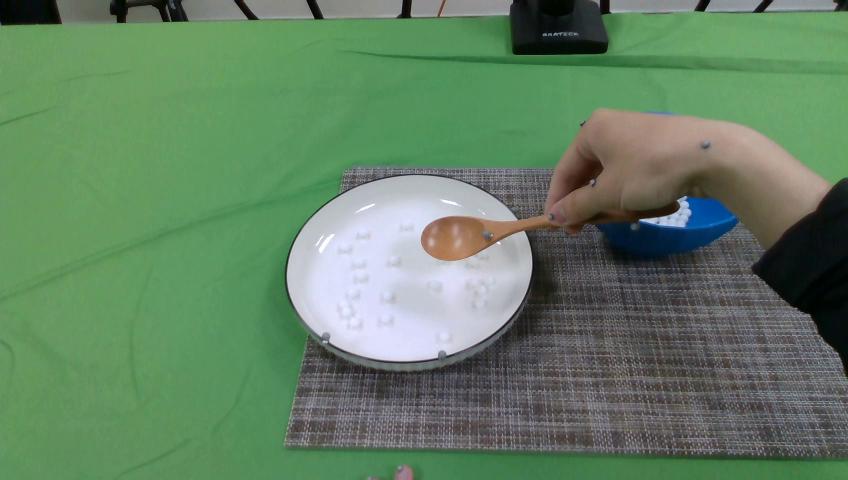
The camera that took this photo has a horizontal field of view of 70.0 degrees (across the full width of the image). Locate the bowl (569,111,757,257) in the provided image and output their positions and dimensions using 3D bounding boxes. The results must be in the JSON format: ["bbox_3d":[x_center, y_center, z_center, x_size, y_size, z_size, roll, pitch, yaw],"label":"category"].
[{"bbox_3d":[0.199,-0.038,0.535,0.151,0.077,0.150,-1,48,2],"label":"bowl"}]

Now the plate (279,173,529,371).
[{"bbox_3d":[-0.016,0.025,0.518,0.207,0.039,0.205,-1,48,2],"label":"plate"}]

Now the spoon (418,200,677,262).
[{"bbox_3d":[0.084,-0.011,0.449,0.193,0.022,0.041,-9,58,29],"label":"spoon"}]
